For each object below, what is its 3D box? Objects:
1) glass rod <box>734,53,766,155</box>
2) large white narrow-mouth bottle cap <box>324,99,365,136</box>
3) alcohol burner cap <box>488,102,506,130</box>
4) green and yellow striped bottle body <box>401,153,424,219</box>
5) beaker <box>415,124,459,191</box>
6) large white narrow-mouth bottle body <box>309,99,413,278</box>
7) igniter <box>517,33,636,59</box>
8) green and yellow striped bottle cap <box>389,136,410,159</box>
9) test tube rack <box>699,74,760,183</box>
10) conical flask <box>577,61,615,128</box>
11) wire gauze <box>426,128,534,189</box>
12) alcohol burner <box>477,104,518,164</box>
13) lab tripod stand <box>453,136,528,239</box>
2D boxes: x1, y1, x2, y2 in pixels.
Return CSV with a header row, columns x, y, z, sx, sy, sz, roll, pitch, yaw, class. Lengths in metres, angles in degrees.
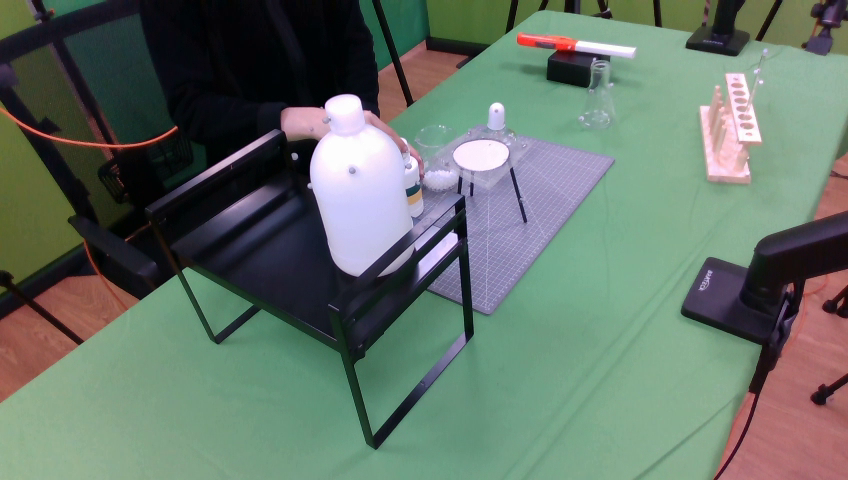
x,y,z,sx,sy,sz,roll,pitch,yaw,class
0.540,-0.220,1.007,0.008,0.201,0.008,-5,46,6,glass rod
-0.076,-0.119,0.586,0.038,0.024,0.037,-3,42,3,large white narrow-mouth bottle cap
0.133,-0.227,1.092,0.034,0.048,0.033,-1,47,2,alcohol burner cap
-0.037,-0.099,1.017,0.063,0.120,0.063,-4,40,4,green and yellow striped bottle body
0.027,-0.147,1.081,0.073,0.100,0.084,12,43,21,beaker
-0.068,-0.057,0.644,0.102,0.195,0.101,-3,42,4,large white narrow-mouth bottle body
0.336,-0.441,1.369,0.275,0.025,0.057,16,41,23,igniter
-0.046,-0.147,0.970,0.045,0.020,0.045,-10,41,9,green and yellow striped bottle cap
0.547,-0.208,1.095,0.066,0.085,0.242,6,42,16,test tube rack
0.343,-0.288,1.188,0.075,0.122,0.075,-4,41,4,conical flask
0.086,-0.131,0.923,0.124,0.011,0.122,26,52,33,wire gauze
0.135,-0.200,1.117,0.078,0.119,0.077,-4,43,4,alcohol burner
0.094,-0.086,0.974,0.148,0.132,0.147,-3,42,4,lab tripod stand
